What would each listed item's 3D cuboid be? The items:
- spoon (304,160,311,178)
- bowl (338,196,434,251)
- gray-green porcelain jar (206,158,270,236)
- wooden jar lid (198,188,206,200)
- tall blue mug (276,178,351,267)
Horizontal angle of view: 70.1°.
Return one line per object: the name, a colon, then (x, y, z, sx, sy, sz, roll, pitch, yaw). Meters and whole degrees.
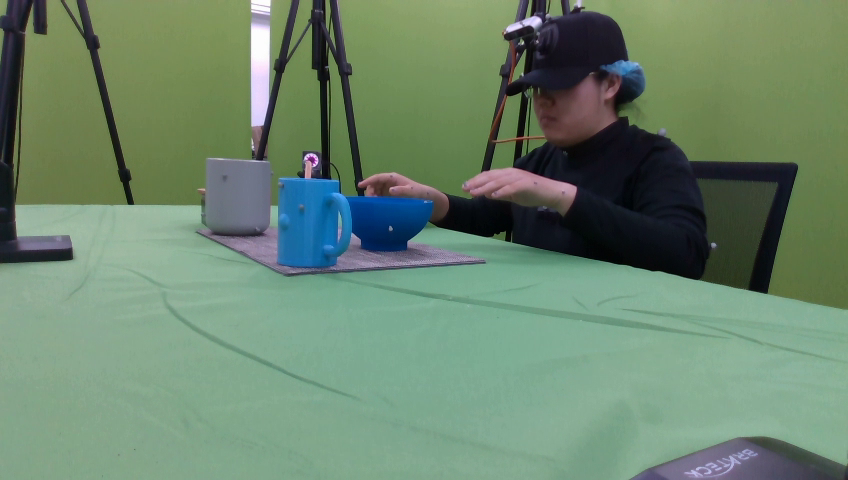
spoon: (-0.242, -0.103, 1.251, 0.042, 0.021, 0.193, 0, 51, -6)
bowl: (-0.061, -0.026, 0.943, 0.151, 0.077, 0.151, 2, 7, 0)
gray-green porcelain jar: (-0.317, -0.074, 1.032, 0.106, 0.126, 0.106, 3, 7, 0)
wooden jar lid: (-0.382, -0.088, 1.175, 0.108, 0.020, 0.108, 3, 8, 0)
tall blue mug: (-0.133, -0.023, 0.767, 0.107, 0.108, 0.078, 4, 7, 12)
